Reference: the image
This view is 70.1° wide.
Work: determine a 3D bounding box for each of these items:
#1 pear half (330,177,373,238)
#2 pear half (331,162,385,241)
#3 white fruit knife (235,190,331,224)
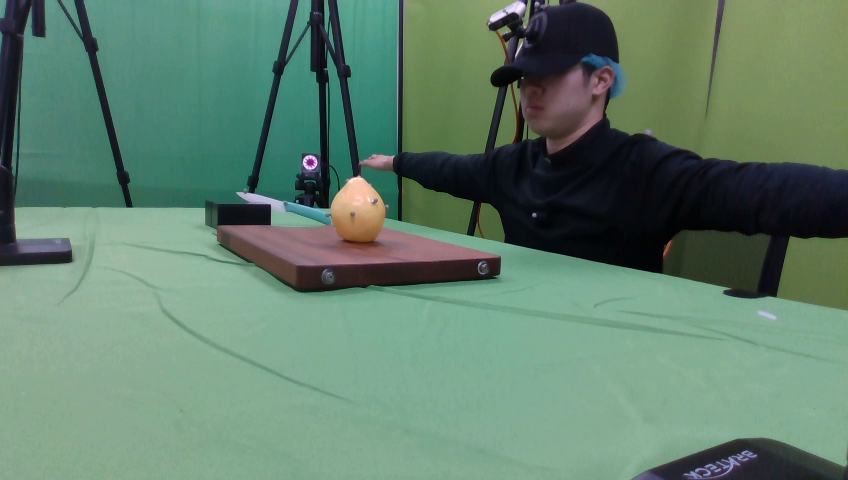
[{"bbox_3d":[-0.109,-0.047,0.866,0.031,0.088,0.071,8,12,43],"label":"pear half"},{"bbox_3d":[-0.085,-0.052,0.839,0.055,0.110,0.077,10,14,42],"label":"pear half"},{"bbox_3d":[-0.286,-0.070,1.245,0.208,0.027,0.016,15,-4,-30],"label":"white fruit knife"}]
